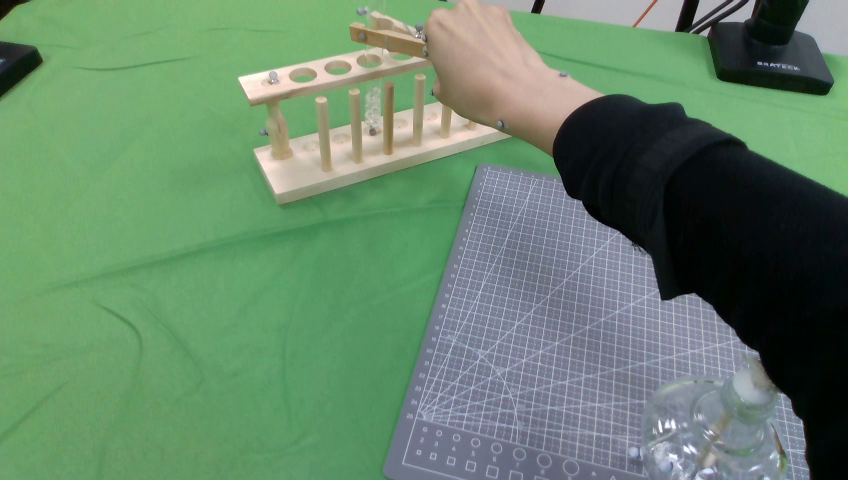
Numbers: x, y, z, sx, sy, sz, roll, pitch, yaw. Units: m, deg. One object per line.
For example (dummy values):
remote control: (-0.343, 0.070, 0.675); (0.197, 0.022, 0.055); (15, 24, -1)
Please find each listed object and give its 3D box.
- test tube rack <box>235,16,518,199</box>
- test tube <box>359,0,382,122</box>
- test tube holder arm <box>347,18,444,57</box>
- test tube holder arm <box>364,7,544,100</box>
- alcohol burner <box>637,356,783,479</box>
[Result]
test tube rack: (-0.031, -0.122, 0.535); (0.243, 0.086, 0.066); (-19, 52, -19)
test tube: (-0.045, -0.161, 0.503); (0.017, 0.151, 0.017); (4, 47, -4)
test tube holder arm: (-0.022, -0.158, 0.472); (0.087, 0.015, 0.010); (18, 53, 22)
test tube holder arm: (0.017, -0.143, 0.455); (0.177, 0.015, 0.013); (33, 61, 30)
alcohol burner: (0.159, 0.096, 0.326); (0.078, 0.120, 0.077); (1, 49, 0)
